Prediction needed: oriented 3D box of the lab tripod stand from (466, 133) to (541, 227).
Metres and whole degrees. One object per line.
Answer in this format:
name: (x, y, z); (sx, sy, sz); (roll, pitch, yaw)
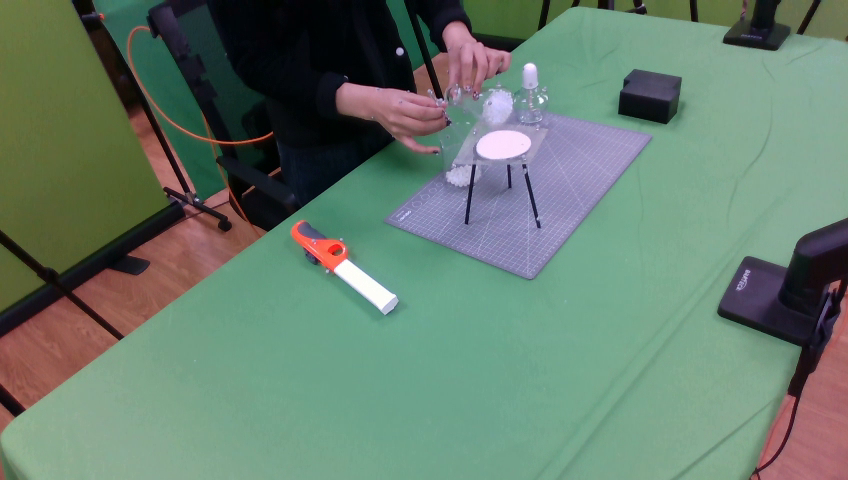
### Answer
lab tripod stand: (0.129, -0.099, 0.985); (0.148, 0.132, 0.147); (-6, 38, 6)

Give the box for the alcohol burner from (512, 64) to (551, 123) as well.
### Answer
alcohol burner: (0.215, -0.298, 1.220); (0.078, 0.120, 0.077); (-7, 40, 7)

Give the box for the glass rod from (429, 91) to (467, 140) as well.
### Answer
glass rod: (0.043, -0.204, 1.006); (0.008, 0.201, 0.008); (-4, 77, 19)

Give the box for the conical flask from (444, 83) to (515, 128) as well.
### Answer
conical flask: (0.091, -0.238, 1.035); (0.123, 0.075, 0.074); (3, 28, -40)

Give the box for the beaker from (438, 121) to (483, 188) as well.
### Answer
beaker: (0.066, -0.149, 1.083); (0.073, 0.101, 0.084); (19, 49, 31)

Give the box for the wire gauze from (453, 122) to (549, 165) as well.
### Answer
wire gauze: (0.121, -0.150, 0.942); (0.121, 0.011, 0.125); (8, 42, 21)

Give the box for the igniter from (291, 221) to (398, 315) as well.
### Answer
igniter: (-0.136, 0.037, 0.962); (0.057, 0.025, 0.274); (-41, 48, -18)

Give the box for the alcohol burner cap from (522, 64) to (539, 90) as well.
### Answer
alcohol burner cap: (0.210, -0.324, 1.195); (0.034, 0.048, 0.033); (-6, 45, 7)
